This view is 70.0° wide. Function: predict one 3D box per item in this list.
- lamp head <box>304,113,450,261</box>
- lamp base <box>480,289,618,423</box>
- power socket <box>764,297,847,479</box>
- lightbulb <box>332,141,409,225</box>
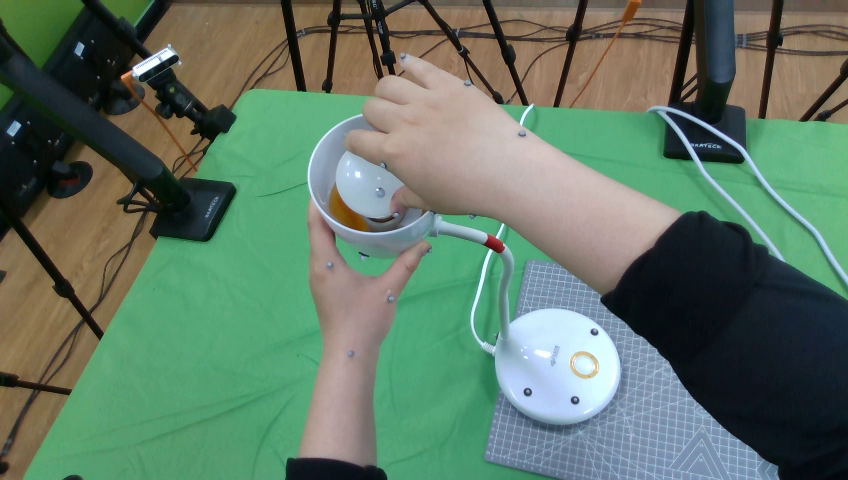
[{"bbox_3d":[-0.033,-0.031,0.525,0.112,0.124,0.111,-3,65,6],"label":"lamp head"},{"bbox_3d":[0.145,0.118,0.734,0.178,0.182,0.159,1,57,16],"label":"lamp base"},{"bbox_3d":[0.456,0.168,0.729,0.072,0.033,0.225,7,58,15],"label":"power socket"},{"bbox_3d":[-0.041,-0.039,0.494,0.059,0.108,0.059,0,71,0],"label":"lightbulb"}]
